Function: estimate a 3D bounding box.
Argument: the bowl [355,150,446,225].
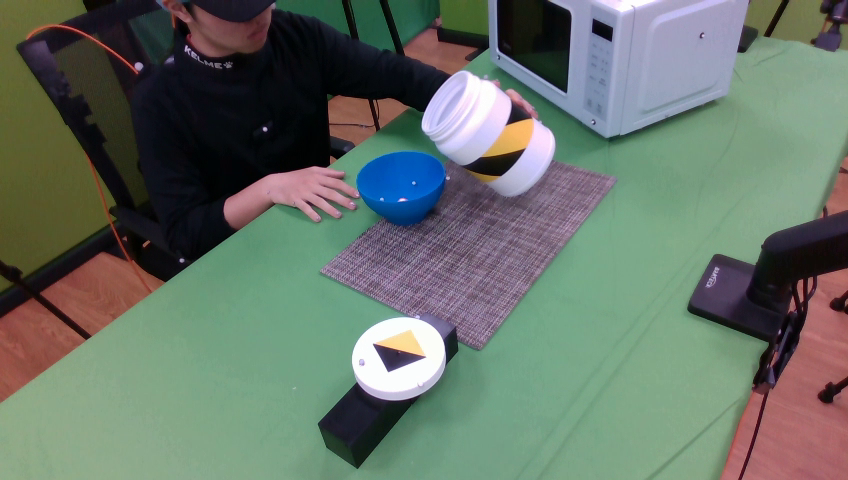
[{"bbox_3d":[-0.035,-0.078,1.017,0.151,0.077,0.150,-4,40,4],"label":"bowl"}]

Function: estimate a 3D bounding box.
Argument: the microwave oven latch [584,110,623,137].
[{"bbox_3d":[0.337,-0.222,1.142,0.030,0.029,0.078,-21,42,-14],"label":"microwave oven latch"}]

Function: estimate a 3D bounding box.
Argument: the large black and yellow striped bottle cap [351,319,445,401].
[{"bbox_3d":[-0.031,0.143,0.735,0.115,0.019,0.114,-3,40,3],"label":"large black and yellow striped bottle cap"}]

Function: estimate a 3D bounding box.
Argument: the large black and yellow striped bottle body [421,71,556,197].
[{"bbox_3d":[0.099,-0.165,0.943,0.185,0.130,0.130,31,37,-26],"label":"large black and yellow striped bottle body"}]

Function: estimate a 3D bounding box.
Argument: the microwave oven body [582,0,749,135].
[{"bbox_3d":[0.382,-0.444,1.246,0.327,0.261,0.437,-22,42,-16],"label":"microwave oven body"}]

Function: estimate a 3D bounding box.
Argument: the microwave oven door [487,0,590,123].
[{"bbox_3d":[0.232,-0.420,1.230,0.039,0.245,0.352,-22,43,-16],"label":"microwave oven door"}]
